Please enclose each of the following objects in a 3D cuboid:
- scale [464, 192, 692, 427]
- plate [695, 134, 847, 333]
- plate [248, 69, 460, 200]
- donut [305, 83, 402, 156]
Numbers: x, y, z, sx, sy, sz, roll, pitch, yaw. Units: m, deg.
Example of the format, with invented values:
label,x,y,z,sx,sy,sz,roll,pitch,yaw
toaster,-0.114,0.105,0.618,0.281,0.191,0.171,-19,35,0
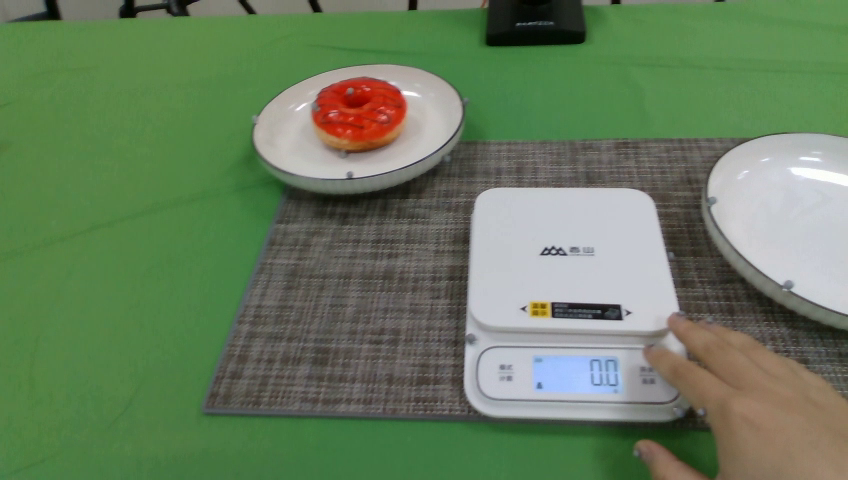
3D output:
label,x,y,z,sx,sy,sz,roll,pitch,yaw
scale,0.106,0.040,0.451,0.148,0.032,0.199,0,47,6
plate,0.317,-0.006,0.471,0.207,0.039,0.205,-1,46,2
plate,-0.067,-0.104,0.606,0.209,0.038,0.207,-3,44,4
donut,-0.070,-0.120,0.606,0.099,0.049,0.098,-2,44,2
